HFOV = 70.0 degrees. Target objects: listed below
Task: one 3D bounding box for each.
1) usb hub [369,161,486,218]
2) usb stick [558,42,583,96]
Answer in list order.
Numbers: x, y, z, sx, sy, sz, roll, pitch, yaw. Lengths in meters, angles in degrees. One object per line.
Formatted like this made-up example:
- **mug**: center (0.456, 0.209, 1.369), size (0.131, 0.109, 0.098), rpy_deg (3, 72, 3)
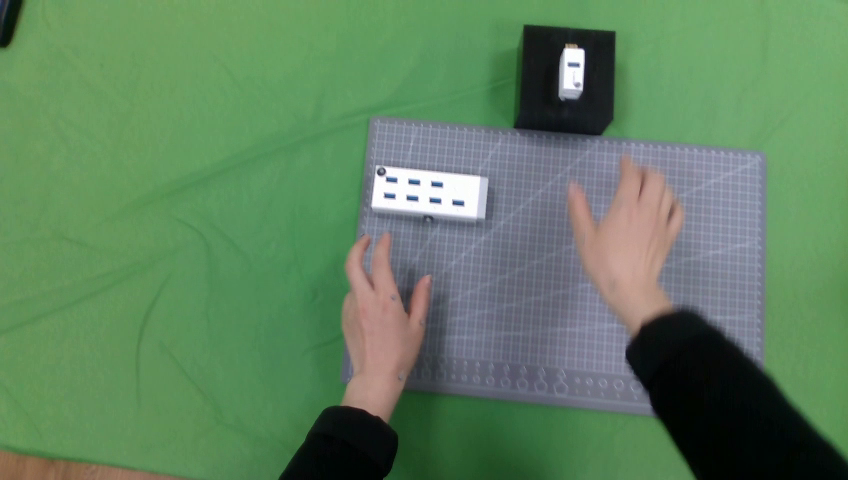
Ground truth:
- **usb hub**: center (0.004, -0.055, 0.666), size (0.125, 0.025, 0.049), rpy_deg (6, 81, 1)
- **usb stick**: center (0.154, -0.184, 0.638), size (0.021, 0.027, 0.059), rpy_deg (4, 79, 3)
